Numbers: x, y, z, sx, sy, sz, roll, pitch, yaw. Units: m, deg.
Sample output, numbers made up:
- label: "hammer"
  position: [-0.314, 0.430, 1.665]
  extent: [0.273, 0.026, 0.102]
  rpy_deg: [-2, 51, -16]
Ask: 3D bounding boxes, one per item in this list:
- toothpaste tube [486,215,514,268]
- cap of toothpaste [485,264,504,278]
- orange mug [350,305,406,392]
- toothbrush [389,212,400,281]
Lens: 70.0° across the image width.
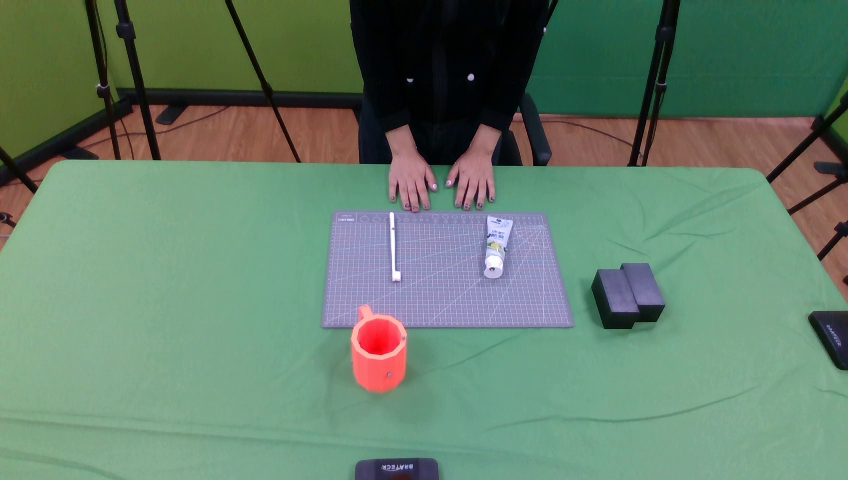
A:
- label: "toothpaste tube"
  position: [0.147, 0.005, 1.197]
  extent: [0.055, 0.034, 0.164]
  rpy_deg: [14, 43, 0]
- label: "cap of toothpaste"
  position: [0.132, 0.057, 1.137]
  extent: [0.037, 0.037, 0.011]
  rpy_deg: [1, 48, -2]
- label: "orange mug"
  position: [-0.080, 0.168, 0.978]
  extent: [0.083, 0.101, 0.125]
  rpy_deg: [-16, 54, -18]
- label: "toothbrush"
  position: [-0.059, 0.010, 1.186]
  extent: [0.017, 0.014, 0.180]
  rpy_deg: [1, 46, -7]
